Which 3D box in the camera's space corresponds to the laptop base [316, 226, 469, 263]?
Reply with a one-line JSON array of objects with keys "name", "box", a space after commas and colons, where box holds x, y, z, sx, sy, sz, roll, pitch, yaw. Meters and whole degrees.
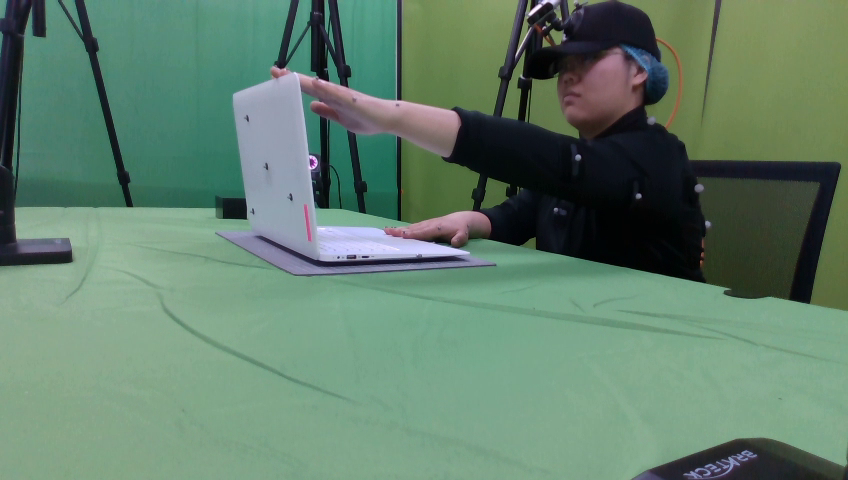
[{"name": "laptop base", "box": [-0.117, 0.005, 0.971, 0.237, 0.023, 0.352, 3, 6, -30]}]

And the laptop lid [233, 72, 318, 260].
[{"name": "laptop lid", "box": [-0.228, -0.109, 0.888, 0.013, 0.241, 0.355, -10, 14, -28]}]
